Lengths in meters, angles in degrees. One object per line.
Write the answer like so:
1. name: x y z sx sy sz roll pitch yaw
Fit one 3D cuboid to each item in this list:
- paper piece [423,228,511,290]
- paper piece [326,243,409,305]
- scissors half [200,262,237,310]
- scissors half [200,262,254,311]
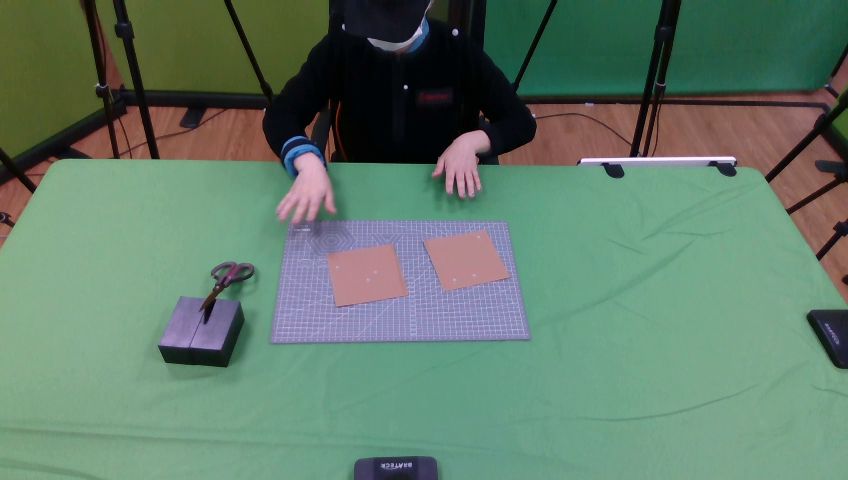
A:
1. paper piece: 0.082 0.034 1.176 0.138 0.009 0.135 -8 52 -15
2. paper piece: -0.108 0.061 1.135 0.136 0.004 0.134 -8 46 -12
3. scissors half: -0.363 0.079 1.058 0.040 0.013 0.174 1 23 -5
4. scissors half: -0.343 0.079 1.058 0.040 0.013 0.174 3 24 13
